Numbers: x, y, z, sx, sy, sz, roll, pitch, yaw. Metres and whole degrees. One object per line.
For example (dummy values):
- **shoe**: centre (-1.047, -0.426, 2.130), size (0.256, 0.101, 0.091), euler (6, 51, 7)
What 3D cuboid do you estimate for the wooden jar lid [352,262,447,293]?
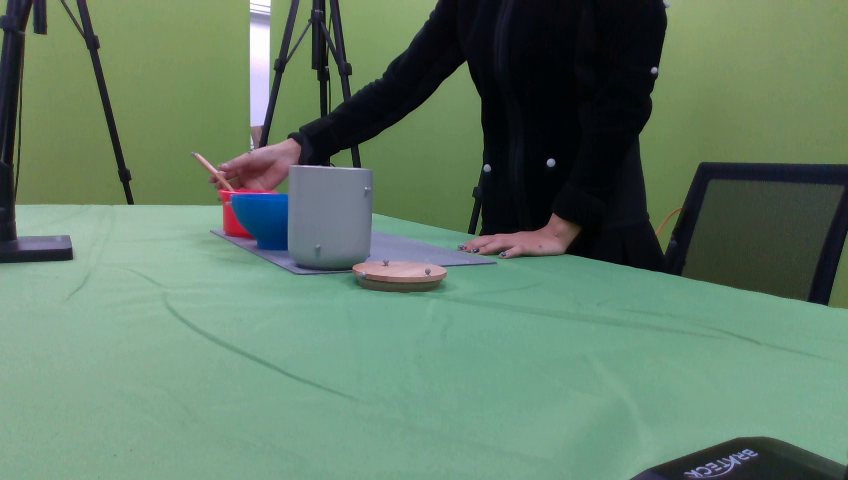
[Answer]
- **wooden jar lid**: centre (-0.028, 0.042, 0.686), size (0.108, 0.020, 0.108), euler (3, 8, 0)

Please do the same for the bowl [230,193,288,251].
- **bowl**: centre (-0.214, -0.028, 0.912), size (0.151, 0.077, 0.151), euler (2, 8, 0)

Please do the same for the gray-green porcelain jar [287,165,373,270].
- **gray-green porcelain jar**: centre (-0.119, -0.029, 0.767), size (0.106, 0.126, 0.106), euler (2, 7, 0)

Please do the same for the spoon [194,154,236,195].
- **spoon**: centre (-0.334, -0.083, 1.041), size (0.193, 0.021, 0.042), euler (50, 23, 11)
